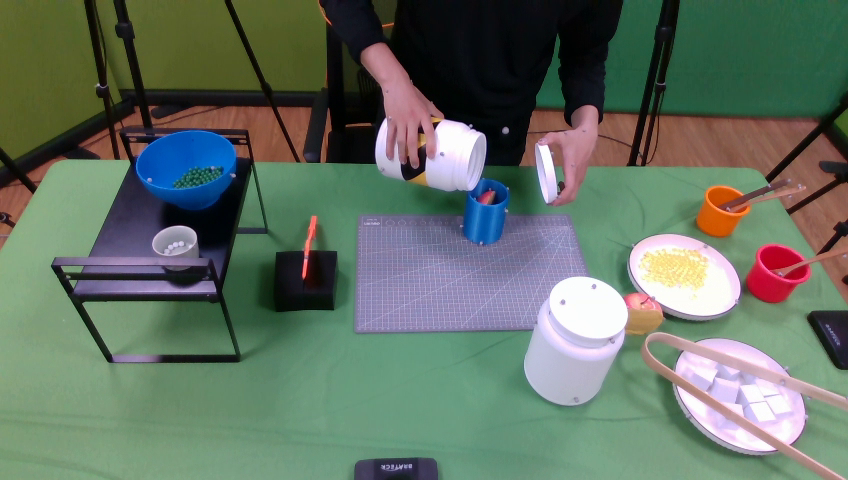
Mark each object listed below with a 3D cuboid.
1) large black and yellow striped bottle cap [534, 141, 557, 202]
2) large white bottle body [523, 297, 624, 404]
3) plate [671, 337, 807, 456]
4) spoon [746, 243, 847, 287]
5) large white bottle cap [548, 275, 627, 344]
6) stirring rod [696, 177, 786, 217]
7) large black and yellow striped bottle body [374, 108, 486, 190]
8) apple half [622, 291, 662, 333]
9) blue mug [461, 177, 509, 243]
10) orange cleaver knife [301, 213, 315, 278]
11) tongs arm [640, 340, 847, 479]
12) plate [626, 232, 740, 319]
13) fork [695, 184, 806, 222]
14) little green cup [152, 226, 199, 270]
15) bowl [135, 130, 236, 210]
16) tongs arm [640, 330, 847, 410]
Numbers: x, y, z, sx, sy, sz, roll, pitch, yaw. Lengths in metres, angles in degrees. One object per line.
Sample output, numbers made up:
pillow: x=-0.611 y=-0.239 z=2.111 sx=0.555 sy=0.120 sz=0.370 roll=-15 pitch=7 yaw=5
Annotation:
large black and yellow striped bottle cap: x=0.227 y=-0.128 z=1.130 sx=0.019 sy=0.115 sz=0.114 roll=-11 pitch=47 yaw=4
large white bottle body: x=0.235 y=0.159 z=0.952 sx=0.131 sy=0.185 sz=0.130 roll=2 pitch=47 yaw=-2
plate: x=0.503 y=0.254 z=0.984 sx=0.208 sy=0.039 sz=0.206 roll=2 pitch=46 yaw=-2
spoon: x=0.702 y=0.043 z=1.126 sx=0.194 sy=0.022 sz=0.041 roll=-29 pitch=38 yaw=30
large white bottle cap: x=0.240 y=0.100 z=0.890 sx=0.115 sy=0.018 sz=0.114 roll=3 pitch=47 yaw=-3
stirring rod: x=0.648 y=-0.087 z=1.244 sx=0.176 sy=0.006 sz=0.014 roll=-25 pitch=50 yaw=29
large black and yellow striped bottle body: x=0.013 y=-0.168 z=1.144 sx=0.183 sy=0.131 sz=0.130 roll=16 pitch=47 yaw=17
apple half: x=0.372 y=0.124 z=1.073 sx=0.081 sy=0.075 sz=0.053 roll=0 pitch=42 yaw=1
blue mug: x=0.114 y=-0.070 z=1.210 sx=0.082 sy=0.106 sz=0.115 roll=-12 pitch=48 yaw=-15
orange cleaver knife: x=-0.217 y=0.007 z=1.131 sx=0.012 sy=0.077 sz=0.210 roll=7 pitch=19 yaw=-9
tongs arm: x=0.500 y=0.277 z=0.919 sx=0.386 sy=0.028 sz=0.028 roll=34 pitch=59 yaw=22
plate: x=0.488 y=0.071 z=1.157 sx=0.209 sy=0.038 sz=0.208 roll=3 pitch=46 yaw=-3
fork: x=0.658 y=-0.074 z=1.230 sx=0.207 sy=0.019 sz=0.028 roll=-24 pitch=33 yaw=36
little green cup: x=-0.364 y=0.013 z=0.894 sx=0.061 sy=0.039 sz=0.061 roll=3 pitch=46 yaw=-3
bowl: x=-0.375 y=-0.102 z=0.978 sx=0.151 sy=0.077 sz=0.150 roll=2 pitch=46 yaw=-2
tongs arm: x=0.543 y=0.225 z=0.969 sx=0.384 sy=0.026 sz=0.050 roll=22 pitch=52 yaw=13
